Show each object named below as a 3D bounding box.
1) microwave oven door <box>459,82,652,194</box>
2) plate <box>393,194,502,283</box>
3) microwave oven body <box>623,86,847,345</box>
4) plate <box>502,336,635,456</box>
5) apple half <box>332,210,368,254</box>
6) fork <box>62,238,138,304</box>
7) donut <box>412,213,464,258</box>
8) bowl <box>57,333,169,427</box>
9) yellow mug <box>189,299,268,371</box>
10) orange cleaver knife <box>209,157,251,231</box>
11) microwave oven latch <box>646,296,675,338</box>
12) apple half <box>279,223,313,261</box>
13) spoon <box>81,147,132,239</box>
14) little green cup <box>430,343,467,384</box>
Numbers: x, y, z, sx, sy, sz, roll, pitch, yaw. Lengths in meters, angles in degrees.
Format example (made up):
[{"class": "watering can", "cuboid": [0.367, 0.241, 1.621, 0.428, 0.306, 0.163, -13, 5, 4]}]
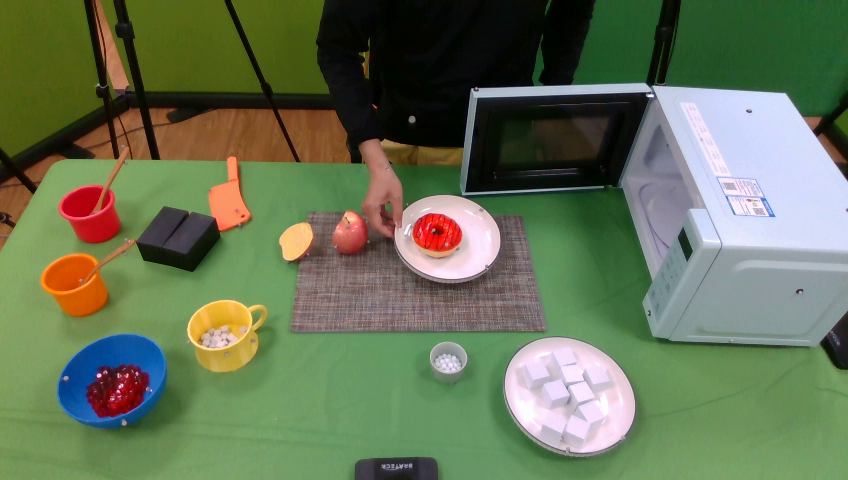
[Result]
[{"class": "microwave oven door", "cuboid": [0.259, -0.204, 1.236, 0.356, 0.245, 0.039, -4, 46, -7]}, {"class": "plate", "cuboid": [0.044, 0.001, 1.161, 0.209, 0.038, 0.208, 3, 52, -3]}, {"class": "microwave oven body", "cuboid": [0.567, -0.053, 1.118, 0.326, 0.261, 0.439, 2, 45, -1]}, {"class": "plate", "cuboid": [0.225, 0.248, 0.964, 0.208, 0.039, 0.206, 2, 46, -2]}, {"class": "apple half", "cuboid": [-0.136, -0.010, 1.158, 0.053, 0.075, 0.080, 17, 44, 8]}, {"class": "fork", "cuboid": [-0.547, 0.053, 1.018, 0.207, 0.019, 0.028, -36, 41, 23]}, {"class": "donut", "cuboid": [0.027, -0.010, 1.153, 0.099, 0.048, 0.098, 3, 51, -3]}, {"class": "bowl", "cuboid": [-0.456, 0.223, 0.912, 0.151, 0.077, 0.150, 3, 45, -2]}, {"class": "yellow mug", "cuboid": [-0.316, 0.148, 1.002, 0.131, 0.064, 0.099, -33, 56, -31]}, {"class": "orange cleaver knife", "cuboid": [-0.409, -0.099, 1.266, 0.077, 0.012, 0.210, -14, 50, -10]}, {"class": "microwave oven latch", "cuboid": [0.412, 0.134, 1.061, 0.030, 0.029, 0.078, 4, 45, 0]}, {"class": "apple half", "cuboid": [-0.237, 0.007, 1.157, 0.081, 0.033, 0.081, -14, 58, 24]}, {"class": "spoon", "cuboid": [-0.603, -0.089, 1.156, 0.041, 0.022, 0.193, 27, 95, 20]}, {"class": "little green cup", "cuboid": [0.039, 0.203, 0.993, 0.061, 0.039, 0.061, 2, 46, -2]}]
